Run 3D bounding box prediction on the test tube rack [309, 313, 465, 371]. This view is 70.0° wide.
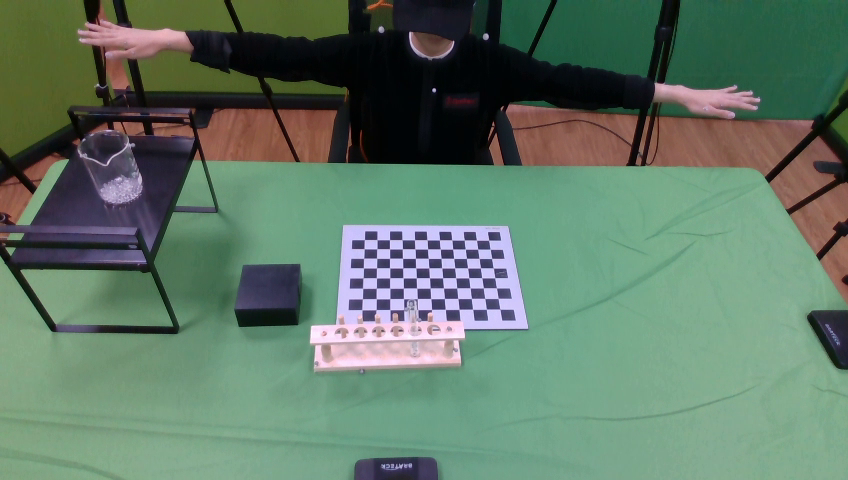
[{"bbox_3d":[-0.059,0.161,0.990,0.242,0.085,0.066,-1,46,-5],"label":"test tube rack"}]

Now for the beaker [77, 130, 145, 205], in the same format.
[{"bbox_3d":[-0.493,-0.111,0.965,0.074,0.101,0.083,-14,49,-16],"label":"beaker"}]

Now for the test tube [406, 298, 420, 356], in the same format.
[{"bbox_3d":[-0.017,0.139,0.945,0.017,0.151,0.017,-1,50,1],"label":"test tube"}]
